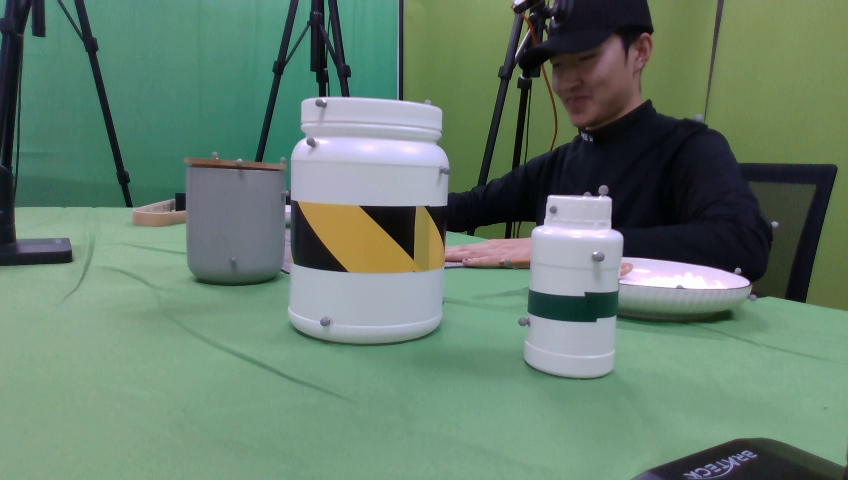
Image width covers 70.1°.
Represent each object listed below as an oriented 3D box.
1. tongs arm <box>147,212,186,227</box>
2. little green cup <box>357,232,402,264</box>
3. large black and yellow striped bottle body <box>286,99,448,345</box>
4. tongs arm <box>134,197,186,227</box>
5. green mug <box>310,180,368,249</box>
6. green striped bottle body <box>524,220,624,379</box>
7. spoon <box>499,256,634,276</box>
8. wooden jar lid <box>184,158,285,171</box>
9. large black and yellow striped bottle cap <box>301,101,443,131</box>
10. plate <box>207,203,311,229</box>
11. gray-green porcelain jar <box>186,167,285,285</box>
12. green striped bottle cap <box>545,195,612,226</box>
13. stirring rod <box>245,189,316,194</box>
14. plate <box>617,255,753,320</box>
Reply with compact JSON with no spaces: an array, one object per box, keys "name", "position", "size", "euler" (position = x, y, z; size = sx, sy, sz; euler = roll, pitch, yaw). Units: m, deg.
[{"name":"tongs arm","position":[-0.478,-0.059,1.322],"size":[0.028,0.028,0.388],"euler":[12,8,7]},{"name":"little green cup","position":[-0.061,0.011,0.825],"size":[0.061,0.038,0.061],"euler":[1,6,0]},{"name":"large black and yellow striped bottle body","position":[-0.047,-0.018,0.501],"size":[0.131,0.184,0.130],"euler":[2,7,0]},{"name":"tongs arm","position":[-0.556,-0.066,1.320],"size":[0.051,0.026,0.384],"euler":[7,7,-5]},{"name":"green mug","position":[-0.131,-0.044,0.981],"size":[0.092,0.105,0.125],"euler":[4,8,14]},{"name":"green striped bottle body","position":[0.104,0.030,0.422],"size":[0.063,0.119,0.063],"euler":[2,8,0]},{"name":"spoon","position":[0.162,0.027,0.679],"size":[0.195,0.021,0.041],"euler":[8,2,-30]},{"name":"wooden jar lid","position":[-0.210,-0.078,0.674],"size":[0.108,0.020,0.108],"euler":[5,6,0]},{"name":"large black and yellow striped bottle cap","position":[-0.042,-0.100,0.491],"size":[0.115,0.019,0.115],"euler":[1,8,0]},{"name":"plate","position":[-0.342,-0.050,1.259],"size":[0.208,0.039,0.207],"euler":[2,7,0]},{"name":"gray-green porcelain jar","position":[-0.212,-0.017,0.682],"size":[0.106,0.126,0.106],"euler":[2,7,0]},{"name":"green striped bottle cap","position":[0.106,-0.020,0.414],"size":[0.044,0.020,0.044],"euler":[2,4,0]},{"name":"stirring rod","position":[-0.351,-0.120,1.490],"size":[0.177,0.014,0.006],"euler":[-2,6,-29]},{"name":"plate","position":[0.234,0.049,0.651],"size":[0.209,0.038,0.209],"euler":[2,7,0]}]
